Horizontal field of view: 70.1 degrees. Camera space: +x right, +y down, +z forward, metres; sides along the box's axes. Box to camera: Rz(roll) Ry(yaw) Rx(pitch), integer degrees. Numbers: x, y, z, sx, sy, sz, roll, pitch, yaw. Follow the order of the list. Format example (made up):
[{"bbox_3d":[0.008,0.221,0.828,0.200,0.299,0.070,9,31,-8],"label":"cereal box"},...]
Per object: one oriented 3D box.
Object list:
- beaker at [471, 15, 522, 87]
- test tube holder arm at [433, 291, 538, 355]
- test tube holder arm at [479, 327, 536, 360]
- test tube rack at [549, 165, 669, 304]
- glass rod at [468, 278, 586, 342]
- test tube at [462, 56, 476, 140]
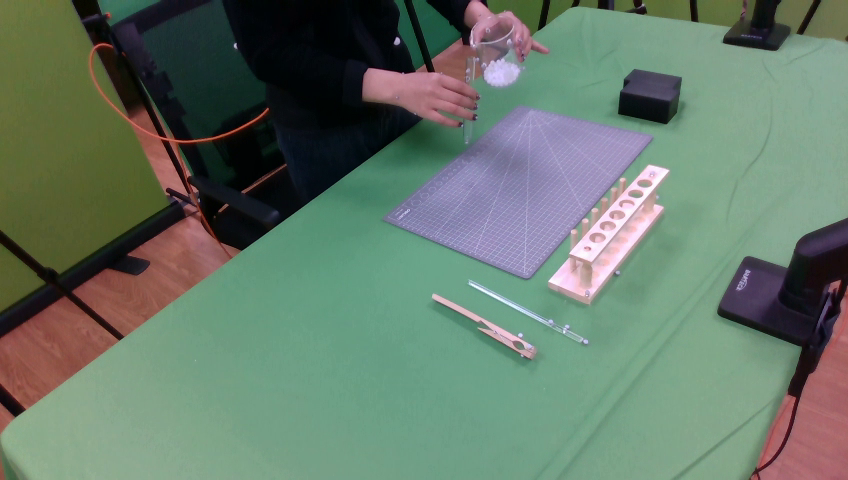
[{"bbox_3d":[0.125,-0.321,1.044,0.084,0.101,0.073,-37,50,-10],"label":"beaker"},{"bbox_3d":[0.081,0.112,0.832,0.177,0.015,0.013,29,82,36],"label":"test tube holder arm"},{"bbox_3d":[0.110,0.134,0.805,0.087,0.015,0.010,29,83,36],"label":"test tube holder arm"},{"bbox_3d":[0.279,-0.018,0.902,0.066,0.085,0.243,24,50,33],"label":"test tube rack"},{"bbox_3d":[0.140,0.096,0.853,0.198,0.008,0.008,27,52,35],"label":"glass rod"},{"bbox_3d":[0.077,-0.245,1.052,0.017,0.150,0.017,1,34,0],"label":"test tube"}]
